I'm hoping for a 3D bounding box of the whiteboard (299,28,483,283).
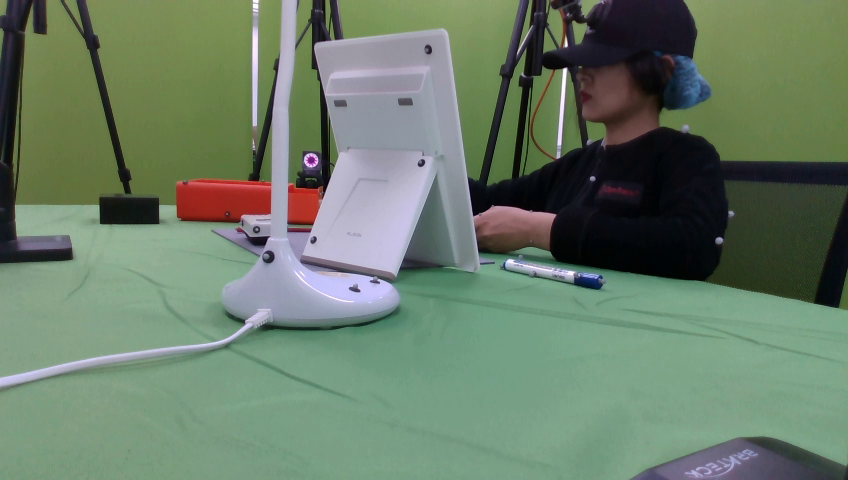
[{"bbox_3d":[-0.075,-0.082,0.741,0.216,0.305,0.144,9,29,38],"label":"whiteboard"}]

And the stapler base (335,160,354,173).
[{"bbox_3d":[-0.166,-0.160,1.289,0.041,0.024,0.130,20,1,-8],"label":"stapler base"}]

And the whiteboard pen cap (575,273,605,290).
[{"bbox_3d":[0.197,0.048,0.719,0.018,0.018,0.033,-4,11,-41],"label":"whiteboard pen cap"}]

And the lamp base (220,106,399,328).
[{"bbox_3d":[-0.101,-0.023,0.531,0.160,0.180,0.179,4,10,10],"label":"lamp base"}]

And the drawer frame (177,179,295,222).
[{"bbox_3d":[-0.397,-0.088,1.315,0.214,0.082,0.201,1,8,-7],"label":"drawer frame"}]

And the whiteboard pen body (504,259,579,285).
[{"bbox_3d":[0.157,0.042,0.764,0.017,0.017,0.140,-4,11,-41],"label":"whiteboard pen body"}]

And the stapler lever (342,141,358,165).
[{"bbox_3d":[-0.158,-0.185,1.290,0.027,0.040,0.118,20,-1,-8],"label":"stapler lever"}]

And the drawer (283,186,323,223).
[{"bbox_3d":[-0.329,-0.084,1.325,0.212,0.073,0.194,1,8,-7],"label":"drawer"}]

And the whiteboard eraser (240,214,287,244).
[{"bbox_3d":[-0.256,-0.018,0.958,0.056,0.042,0.112,0,8,-25],"label":"whiteboard eraser"}]

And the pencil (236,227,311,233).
[{"bbox_3d":[-0.239,-0.017,1.093,0.195,0.012,0.012,1,7,-27],"label":"pencil"}]
